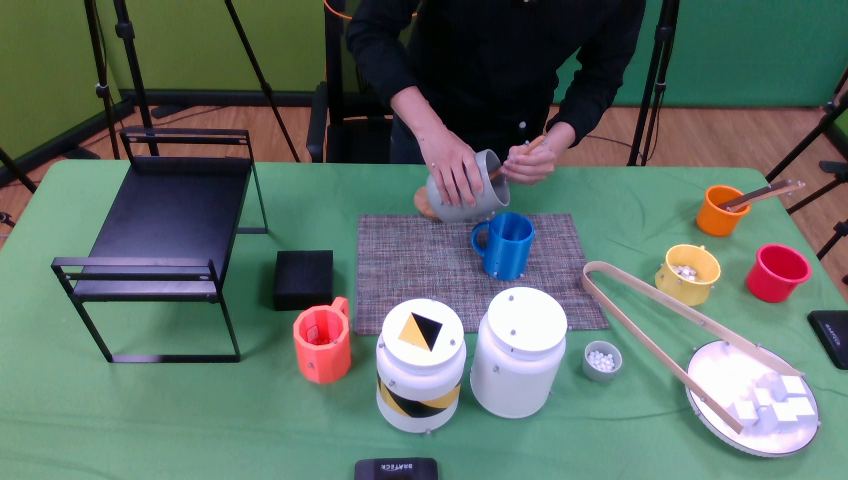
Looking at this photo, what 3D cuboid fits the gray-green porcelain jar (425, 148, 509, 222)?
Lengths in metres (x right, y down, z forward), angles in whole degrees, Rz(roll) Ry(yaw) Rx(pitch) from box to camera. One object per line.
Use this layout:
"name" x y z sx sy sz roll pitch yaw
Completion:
"gray-green porcelain jar" 0.073 -0.093 1.078 0.126 0.106 0.105 -17 40 25

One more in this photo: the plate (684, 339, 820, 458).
"plate" 0.523 0.256 0.982 0.208 0.039 0.206 2 46 -2

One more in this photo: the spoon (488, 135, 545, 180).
"spoon" 0.134 -0.127 1.072 0.022 0.194 0.041 22 41 -51

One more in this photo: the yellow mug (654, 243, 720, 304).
"yellow mug" 0.504 0.054 1.154 0.099 0.064 0.130 28 50 22

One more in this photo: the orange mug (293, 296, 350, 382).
"orange mug" -0.158 0.154 0.985 0.083 0.101 0.125 17 52 11

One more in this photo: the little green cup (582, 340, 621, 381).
"little green cup" 0.295 0.203 1.015 0.061 0.039 0.061 2 45 -2

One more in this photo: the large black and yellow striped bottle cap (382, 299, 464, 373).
"large black and yellow striped bottle cap" -0.002 0.132 0.843 0.115 0.019 0.114 2 46 -1

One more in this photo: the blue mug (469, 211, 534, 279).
"blue mug" 0.141 0.005 1.140 0.116 0.106 0.082 18 48 13

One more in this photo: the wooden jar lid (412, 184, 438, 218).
"wooden jar lid" 0.029 -0.083 1.277 0.108 0.021 0.107 3 43 -3

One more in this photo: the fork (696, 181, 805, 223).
"fork" 0.659 -0.077 1.232 0.207 0.019 0.028 -26 35 34

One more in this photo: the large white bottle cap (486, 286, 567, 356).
"large white bottle cap" 0.147 0.114 0.869 0.115 0.018 0.114 3 46 -3

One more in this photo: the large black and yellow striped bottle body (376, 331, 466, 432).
"large black and yellow striped bottle body" -0.007 0.189 0.905 0.131 0.185 0.130 2 46 -2

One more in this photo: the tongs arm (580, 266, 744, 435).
"tongs arm" 0.384 0.173 1.028 0.028 0.028 0.385 -25 46 -15

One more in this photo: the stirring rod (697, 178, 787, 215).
"stirring rod" 0.650 -0.088 1.246 0.006 0.176 0.014 29 50 -39

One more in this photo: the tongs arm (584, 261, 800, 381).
"tongs arm" 0.452 0.137 1.064 0.051 0.027 0.382 -34 50 -27

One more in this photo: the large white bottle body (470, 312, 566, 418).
"large white bottle body" 0.143 0.174 0.930 0.131 0.185 0.130 2 46 -2
